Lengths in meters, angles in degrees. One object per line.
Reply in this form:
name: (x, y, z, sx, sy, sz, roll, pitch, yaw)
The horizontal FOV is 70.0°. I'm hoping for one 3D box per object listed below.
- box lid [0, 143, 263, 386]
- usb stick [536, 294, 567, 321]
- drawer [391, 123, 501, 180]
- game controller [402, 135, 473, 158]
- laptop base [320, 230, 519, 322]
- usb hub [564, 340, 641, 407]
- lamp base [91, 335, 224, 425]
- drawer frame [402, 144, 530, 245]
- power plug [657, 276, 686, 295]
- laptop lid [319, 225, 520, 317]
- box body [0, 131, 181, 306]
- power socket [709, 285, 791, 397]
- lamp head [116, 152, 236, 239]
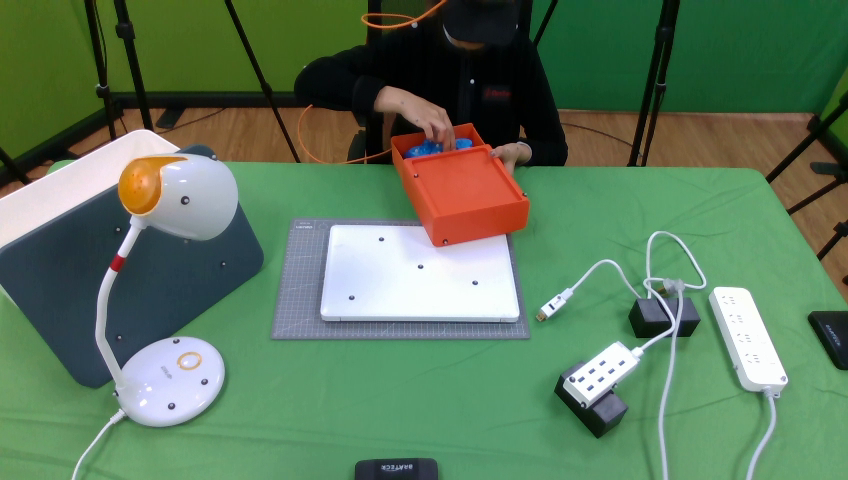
box lid: (-0.444, 0.032, 0.979, 0.015, 0.264, 0.371, 13, 42, 41)
usb stick: (0.226, 0.122, 1.083, 0.059, 0.027, 0.021, -38, 77, -8)
drawer: (0.048, -0.159, 1.305, 0.195, 0.073, 0.210, -11, 42, -12)
game controller: (0.034, -0.197, 1.336, 0.155, 0.052, 0.096, -13, 33, -11)
laptop base: (-0.009, 0.062, 1.138, 0.354, 0.023, 0.234, 1, 43, -3)
usb hub: (0.278, 0.205, 0.944, 0.125, 0.025, 0.049, -27, 52, -28)
lamp base: (-0.401, 0.171, 0.892, 0.160, 0.181, 0.179, 30, 53, 23)
drawer frame: (0.079, -0.098, 1.232, 0.202, 0.083, 0.212, -11, 43, -14)
power plug: (0.450, 0.087, 1.113, 0.073, 0.052, 0.035, -13, 71, -55)
laptop lid: (-0.008, 0.052, 1.131, 0.357, 0.013, 0.240, 2, 43, -2)
box body: (-0.550, -0.007, 1.068, 0.253, 0.161, 0.363, 30, 51, 23)
power socket: (0.567, 0.168, 1.064, 0.072, 0.033, 0.225, 2, 46, 0)
lamp head: (-0.315, -0.057, 0.747, 0.112, 0.112, 0.123, 26, 10, 20)
